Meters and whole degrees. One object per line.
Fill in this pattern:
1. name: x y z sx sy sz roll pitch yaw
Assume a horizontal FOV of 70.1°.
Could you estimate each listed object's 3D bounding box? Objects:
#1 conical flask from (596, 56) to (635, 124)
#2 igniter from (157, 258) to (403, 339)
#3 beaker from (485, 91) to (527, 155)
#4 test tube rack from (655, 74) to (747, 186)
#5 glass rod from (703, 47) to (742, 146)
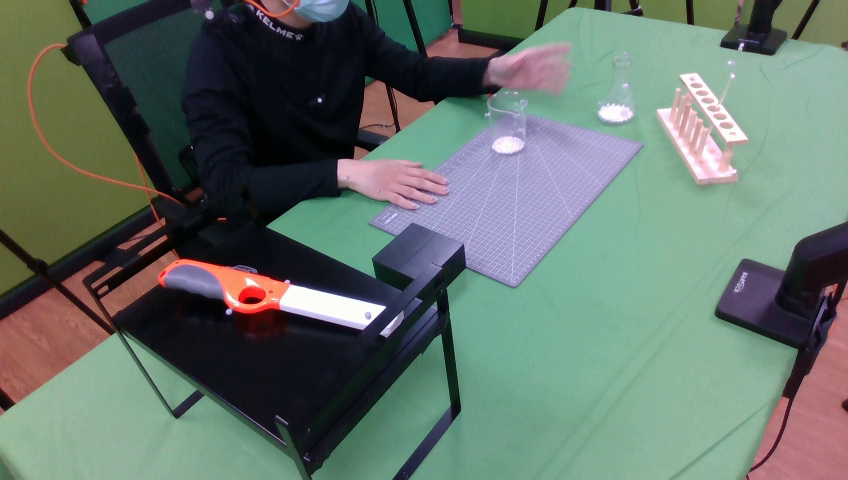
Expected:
1. conical flask: 0.380 -0.294 1.185 0.075 0.122 0.075 -4 41 4
2. igniter: -0.157 0.059 0.638 0.275 0.025 0.057 11 43 14
3. beaker: 0.158 -0.217 1.141 0.074 0.101 0.083 -19 43 -12
4. test tube rack: 0.491 -0.205 1.092 0.067 0.085 0.241 -5 40 3
5. glass rod: 0.503 -0.237 1.027 0.008 0.200 0.008 -2 49 2
